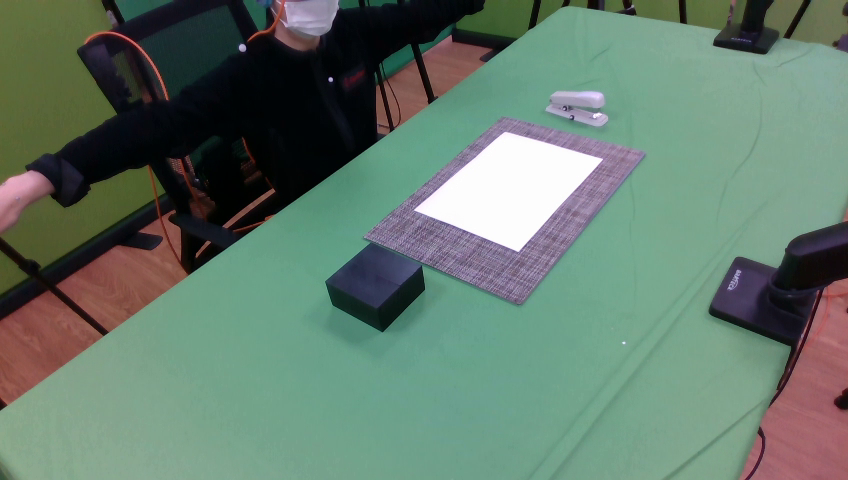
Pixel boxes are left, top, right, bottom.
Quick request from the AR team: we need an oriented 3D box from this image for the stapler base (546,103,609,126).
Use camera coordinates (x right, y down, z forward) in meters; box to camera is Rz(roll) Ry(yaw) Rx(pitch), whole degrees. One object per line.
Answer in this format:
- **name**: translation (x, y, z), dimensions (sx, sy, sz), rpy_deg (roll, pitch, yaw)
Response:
- **stapler base**: translation (0.313, -0.266, 1.235), dimensions (0.129, 0.024, 0.041), rpy_deg (26, 48, 35)

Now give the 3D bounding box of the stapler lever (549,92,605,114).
- **stapler lever**: translation (0.309, -0.285, 1.220), dimensions (0.117, 0.040, 0.027), rpy_deg (26, 49, 35)
